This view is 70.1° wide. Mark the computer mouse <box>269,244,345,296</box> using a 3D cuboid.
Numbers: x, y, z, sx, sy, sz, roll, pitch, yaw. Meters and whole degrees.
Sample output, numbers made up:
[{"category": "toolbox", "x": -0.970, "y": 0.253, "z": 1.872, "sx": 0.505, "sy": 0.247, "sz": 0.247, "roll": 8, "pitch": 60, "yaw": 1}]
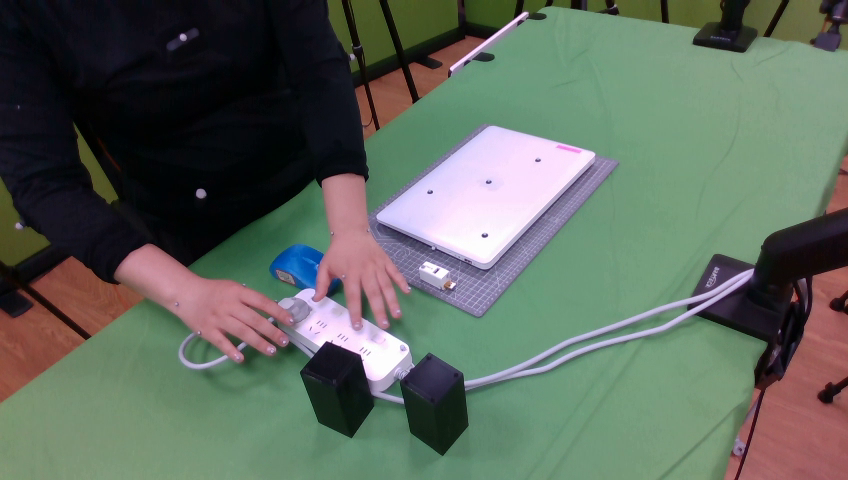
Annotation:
[{"category": "computer mouse", "x": -0.181, "y": 0.044, "z": 0.932, "sx": 0.116, "sy": 0.041, "sz": 0.063, "roll": 24, "pitch": 46, "yaw": 25}]

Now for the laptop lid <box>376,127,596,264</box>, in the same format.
[{"category": "laptop lid", "x": 0.113, "y": -0.096, "z": 1.050, "sx": 0.239, "sy": 0.013, "sz": 0.358, "roll": 24, "pitch": 49, "yaw": 35}]

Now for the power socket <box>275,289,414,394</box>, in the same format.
[{"category": "power socket", "x": -0.114, "y": 0.133, "z": 0.820, "sx": 0.225, "sy": 0.033, "sz": 0.072, "roll": 25, "pitch": 49, "yaw": 32}]

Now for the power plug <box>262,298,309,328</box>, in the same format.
[{"category": "power plug", "x": -0.192, "y": 0.108, "z": 0.829, "sx": 0.073, "sy": 0.053, "sz": 0.035, "roll": -33, "pitch": 43, "yaw": -29}]

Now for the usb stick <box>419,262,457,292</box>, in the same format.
[{"category": "usb stick", "x": 0.022, "y": 0.056, "z": 0.892, "sx": 0.058, "sy": 0.027, "sz": 0.021, "roll": 25, "pitch": 48, "yaw": 30}]

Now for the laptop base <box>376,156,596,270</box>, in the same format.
[{"category": "laptop base", "x": 0.116, "y": -0.086, "z": 1.056, "sx": 0.233, "sy": 0.023, "sz": 0.355, "roll": 21, "pitch": 48, "yaw": 34}]
